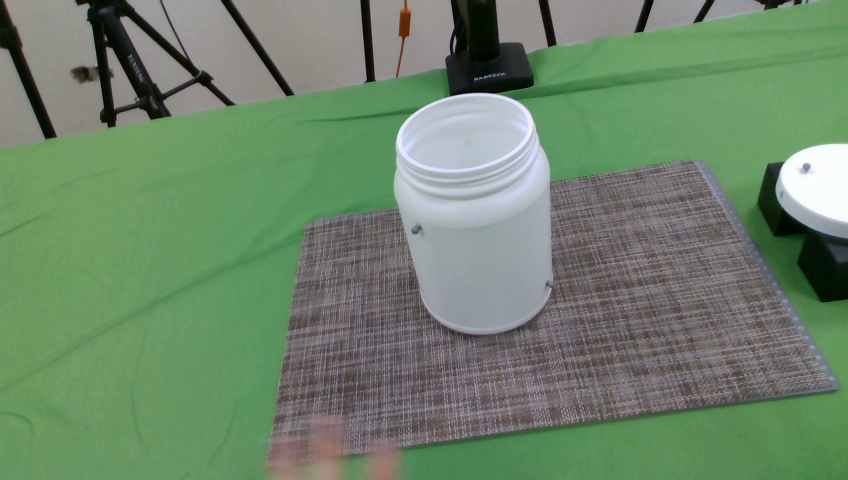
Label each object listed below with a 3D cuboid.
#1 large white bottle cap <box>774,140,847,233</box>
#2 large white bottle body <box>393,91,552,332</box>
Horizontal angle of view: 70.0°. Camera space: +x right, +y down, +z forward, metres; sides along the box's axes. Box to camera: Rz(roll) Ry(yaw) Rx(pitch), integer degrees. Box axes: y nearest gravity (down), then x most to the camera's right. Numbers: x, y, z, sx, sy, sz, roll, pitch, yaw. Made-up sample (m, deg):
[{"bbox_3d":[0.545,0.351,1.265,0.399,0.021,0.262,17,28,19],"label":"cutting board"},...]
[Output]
[{"bbox_3d":[0.374,-0.049,0.533,0.115,0.018,0.113,-7,43,7],"label":"large white bottle cap"},{"bbox_3d":[0.045,-0.022,0.531,0.130,0.186,0.129,-7,44,7],"label":"large white bottle body"}]
